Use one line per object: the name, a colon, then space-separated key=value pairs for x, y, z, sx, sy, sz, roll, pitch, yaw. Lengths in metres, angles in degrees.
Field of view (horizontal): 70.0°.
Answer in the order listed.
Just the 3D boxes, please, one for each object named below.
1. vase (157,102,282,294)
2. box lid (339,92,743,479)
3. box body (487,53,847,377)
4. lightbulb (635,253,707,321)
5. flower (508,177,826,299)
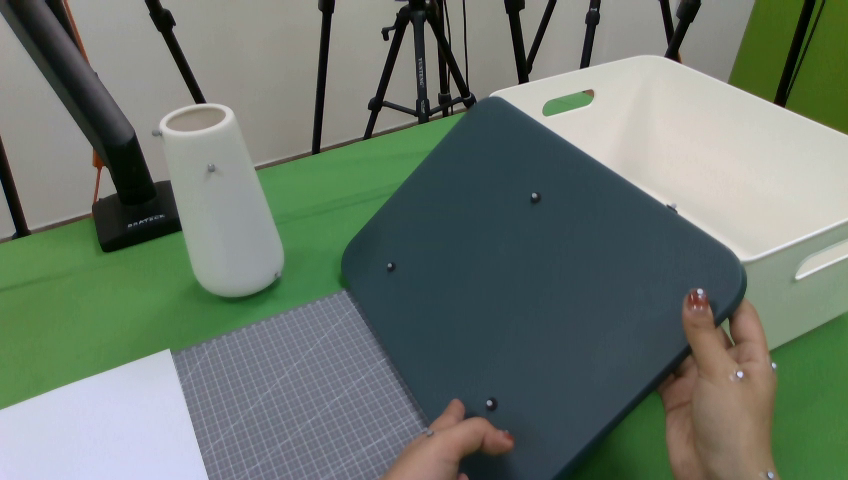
vase: x=-0.214 y=-0.040 z=0.638 sx=0.098 sy=0.202 sz=0.097 roll=-3 pitch=36 yaw=3
box lid: x=0.063 y=0.022 z=0.554 sx=0.263 sy=0.015 sz=0.367 roll=-48 pitch=42 yaw=7
box body: x=0.256 y=-0.051 z=0.651 sx=0.255 sy=0.162 sz=0.360 roll=-19 pitch=40 yaw=-19
lightbulb: x=0.243 y=0.041 z=0.613 sx=0.059 sy=0.060 sz=0.107 roll=-5 pitch=21 yaw=-2
flower: x=0.264 y=-0.003 z=0.700 sx=0.359 sy=0.038 sz=0.044 roll=23 pitch=37 yaw=24
